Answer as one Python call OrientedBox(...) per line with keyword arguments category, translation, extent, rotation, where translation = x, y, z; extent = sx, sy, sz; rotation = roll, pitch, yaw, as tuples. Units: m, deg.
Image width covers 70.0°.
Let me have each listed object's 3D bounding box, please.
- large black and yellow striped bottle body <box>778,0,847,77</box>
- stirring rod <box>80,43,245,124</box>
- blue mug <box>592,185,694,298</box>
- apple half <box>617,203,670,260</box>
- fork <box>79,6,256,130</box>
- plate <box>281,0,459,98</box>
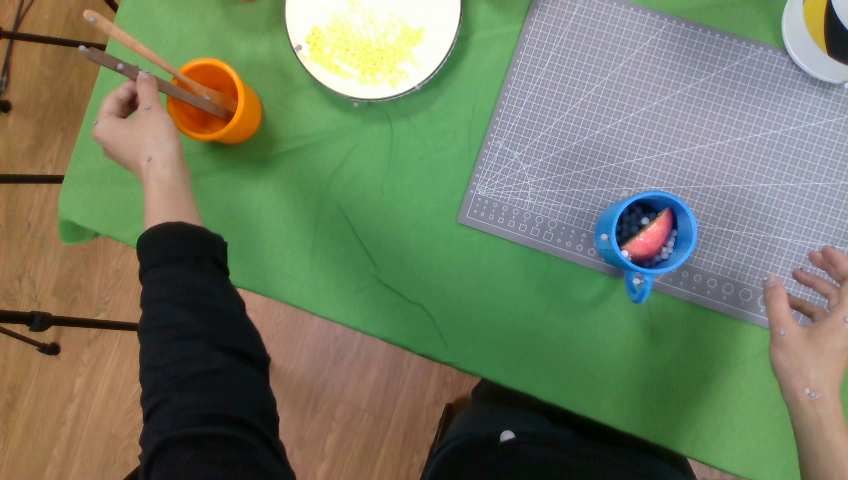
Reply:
OrientedBox(category="large black and yellow striped bottle body", translation=(0.445, -0.245, 0.579), extent=(0.130, 0.184, 0.130), rotation=(0, 88, 6))
OrientedBox(category="stirring rod", translation=(-0.277, -0.167, 0.658), extent=(0.006, 0.178, 0.014), rotation=(-10, 66, 48))
OrientedBox(category="blue mug", translation=(0.227, 0.004, 0.645), extent=(0.082, 0.106, 0.116), rotation=(4, 91, 7))
OrientedBox(category="apple half", translation=(0.235, -0.003, 0.638), extent=(0.081, 0.081, 0.032), rotation=(-41, 78, 5))
OrientedBox(category="fork", translation=(-0.279, -0.188, 0.677), extent=(0.209, 0.018, 0.028), rotation=(34, 93, -39))
OrientedBox(category="plate", translation=(-0.061, -0.269, 0.708), extent=(0.209, 0.038, 0.209), rotation=(0, 91, 7))
